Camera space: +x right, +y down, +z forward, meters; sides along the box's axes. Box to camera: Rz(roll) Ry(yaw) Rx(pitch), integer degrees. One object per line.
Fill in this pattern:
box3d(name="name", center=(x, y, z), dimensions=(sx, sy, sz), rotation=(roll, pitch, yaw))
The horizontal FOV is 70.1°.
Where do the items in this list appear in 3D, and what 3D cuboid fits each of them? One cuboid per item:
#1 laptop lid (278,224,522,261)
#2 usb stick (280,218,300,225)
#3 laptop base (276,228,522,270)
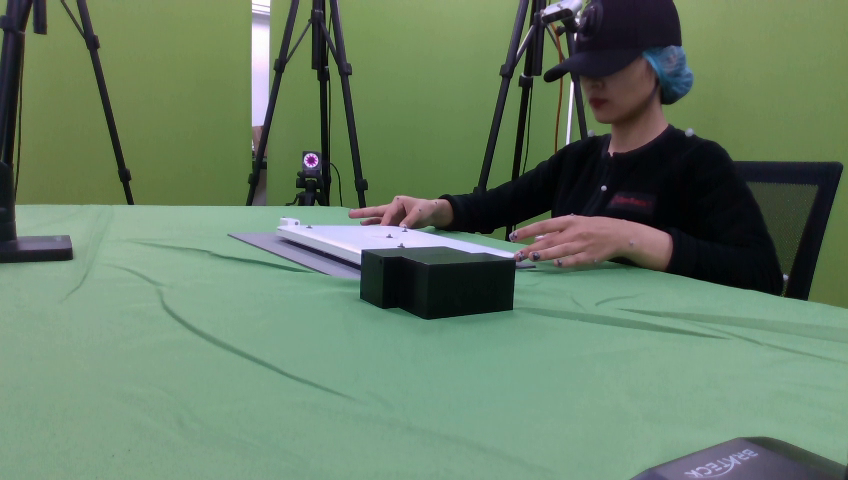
box3d(name="laptop lid", center=(-0.052, -0.002, 0.909), dimensions=(0.243, 0.013, 0.355), rotation=(0, 7, -32))
box3d(name="usb stick", center=(-0.225, -0.023, 1.024), dimensions=(0.021, 0.027, 0.059), rotation=(0, 9, -31))
box3d(name="laptop base", center=(-0.054, 0.010, 0.910), dimensions=(0.237, 0.023, 0.352), rotation=(1, 6, -33))
